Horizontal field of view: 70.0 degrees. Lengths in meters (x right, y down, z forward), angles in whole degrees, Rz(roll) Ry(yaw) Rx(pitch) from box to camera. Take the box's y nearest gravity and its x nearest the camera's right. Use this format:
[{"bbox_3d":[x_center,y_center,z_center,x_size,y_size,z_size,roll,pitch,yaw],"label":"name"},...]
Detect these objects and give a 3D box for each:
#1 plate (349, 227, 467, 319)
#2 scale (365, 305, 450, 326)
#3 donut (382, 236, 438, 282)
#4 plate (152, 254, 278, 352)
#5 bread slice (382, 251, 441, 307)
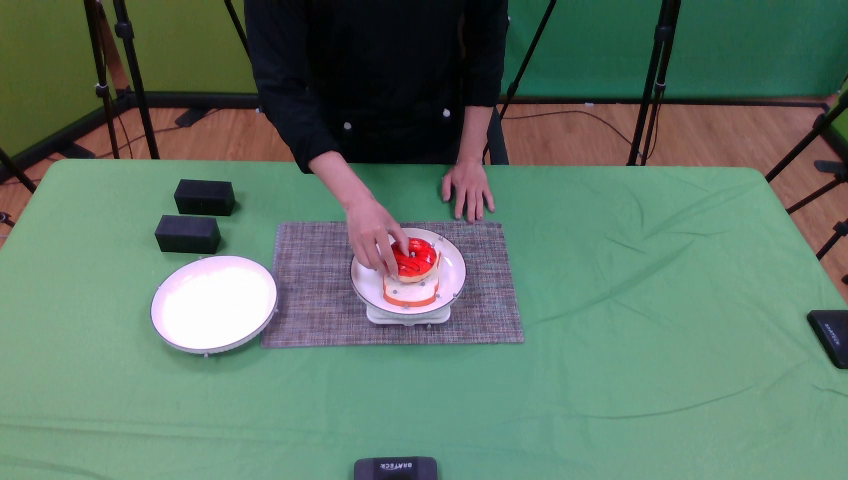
[{"bbox_3d":[-0.029,0.061,1.077,0.209,0.038,0.208,2,46,-2],"label":"plate"},{"bbox_3d":[-0.032,0.071,1.113,0.149,0.032,0.199,0,46,-4],"label":"scale"},{"bbox_3d":[-0.024,0.032,1.061,0.099,0.048,0.098,-1,42,1],"label":"donut"},{"bbox_3d":[-0.357,0.111,1.052,0.208,0.039,0.206,2,46,-2],"label":"plate"},{"bbox_3d":[-0.023,0.064,1.078,0.105,0.019,0.130,2,45,0],"label":"bread slice"}]
